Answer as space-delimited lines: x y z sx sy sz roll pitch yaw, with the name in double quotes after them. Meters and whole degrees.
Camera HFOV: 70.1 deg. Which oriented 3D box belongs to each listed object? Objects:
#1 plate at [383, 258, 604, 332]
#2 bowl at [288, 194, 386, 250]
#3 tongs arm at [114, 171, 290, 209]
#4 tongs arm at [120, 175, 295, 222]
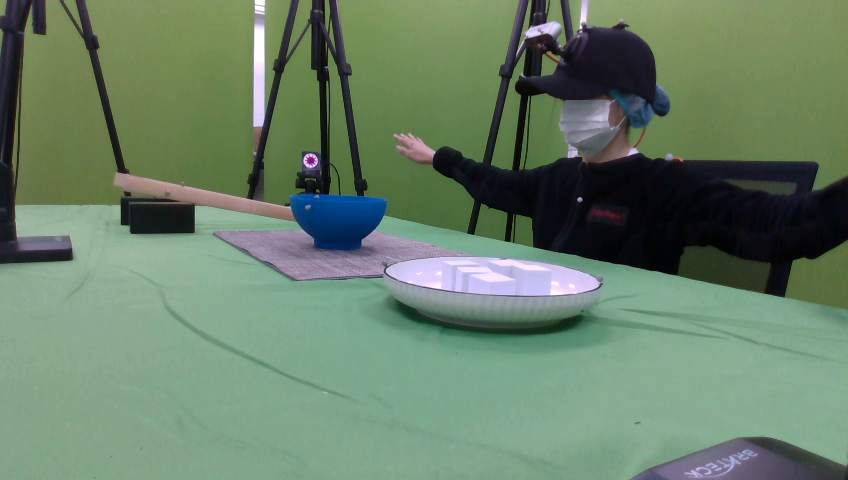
0.064 0.051 0.582 0.209 0.038 0.209 3 7 0 "plate"
-0.135 -0.027 0.936 0.151 0.077 0.151 3 7 0 "bowl"
-0.394 -0.078 1.183 0.387 0.026 0.050 12 0 -27 "tongs arm"
-0.348 -0.065 1.108 0.390 0.027 0.028 11 -3 -42 "tongs arm"
